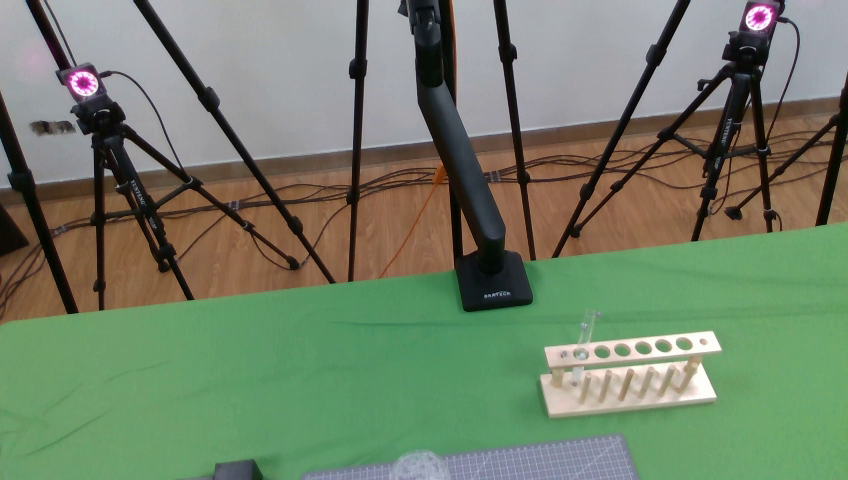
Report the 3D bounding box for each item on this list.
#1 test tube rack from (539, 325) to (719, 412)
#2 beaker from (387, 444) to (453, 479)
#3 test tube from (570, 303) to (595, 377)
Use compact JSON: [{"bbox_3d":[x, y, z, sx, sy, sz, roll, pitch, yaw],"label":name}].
[{"bbox_3d":[0.296,0.186,0.874,0.242,0.086,0.066,-6,46,-1],"label":"test tube rack"},{"bbox_3d":[-0.001,0.313,0.758,0.083,0.101,0.073,12,48,15],"label":"beaker"},{"bbox_3d":[0.221,0.144,0.850,0.017,0.151,0.017,-1,41,1],"label":"test tube"}]
